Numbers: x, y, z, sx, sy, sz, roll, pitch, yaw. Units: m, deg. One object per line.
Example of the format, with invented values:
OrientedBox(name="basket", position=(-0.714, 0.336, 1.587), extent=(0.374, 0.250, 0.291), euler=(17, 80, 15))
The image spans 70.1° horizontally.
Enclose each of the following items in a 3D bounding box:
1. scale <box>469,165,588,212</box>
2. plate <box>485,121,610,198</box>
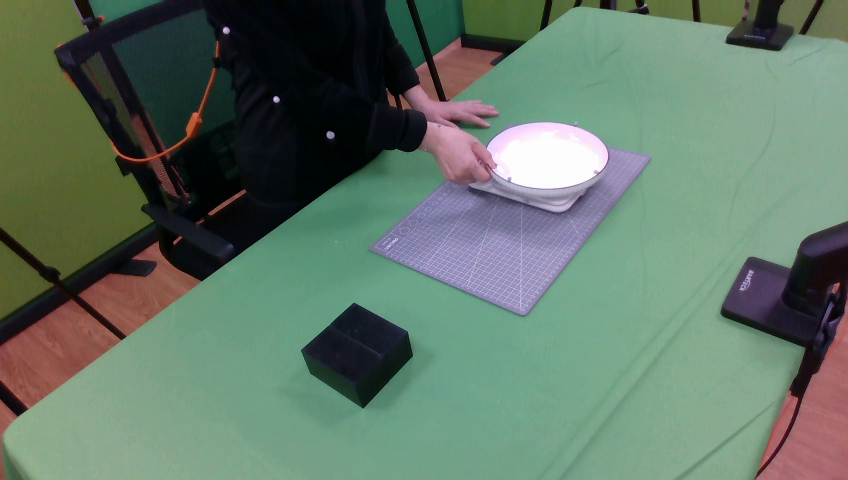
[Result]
OrientedBox(name="scale", position=(0.195, -0.117, 1.075), extent=(0.199, 0.032, 0.149), euler=(21, 48, 32))
OrientedBox(name="plate", position=(0.208, -0.135, 1.035), extent=(0.209, 0.038, 0.208), euler=(-3, 42, 3))
